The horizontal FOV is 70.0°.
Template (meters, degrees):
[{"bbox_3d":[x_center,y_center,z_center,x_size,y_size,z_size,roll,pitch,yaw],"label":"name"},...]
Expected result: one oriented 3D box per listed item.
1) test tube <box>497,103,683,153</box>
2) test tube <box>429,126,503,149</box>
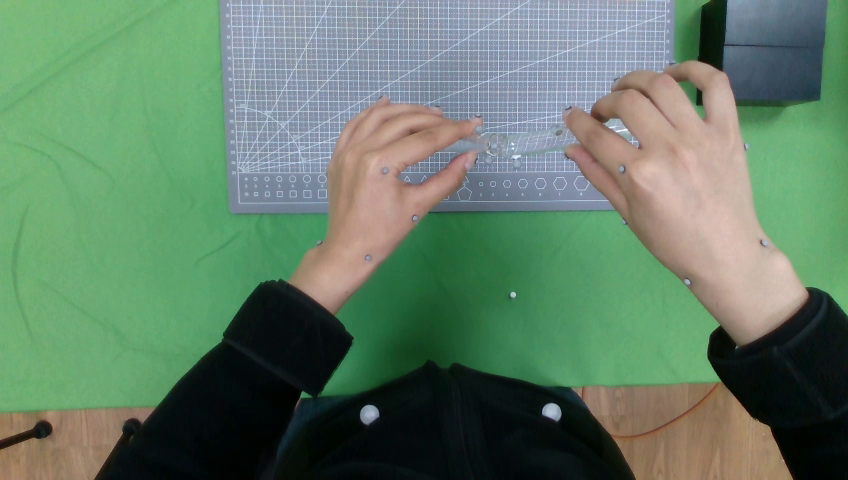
[{"bbox_3d":[0.120,-0.080,0.424,0.151,0.017,0.017,-12,97,-19],"label":"test tube"},{"bbox_3d":[0.029,-0.082,0.479,0.017,0.149,0.017,-3,101,-14],"label":"test tube"}]
